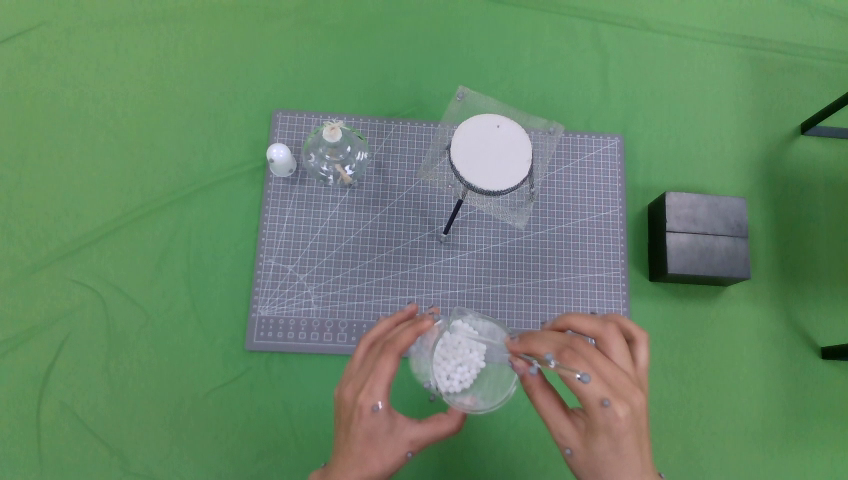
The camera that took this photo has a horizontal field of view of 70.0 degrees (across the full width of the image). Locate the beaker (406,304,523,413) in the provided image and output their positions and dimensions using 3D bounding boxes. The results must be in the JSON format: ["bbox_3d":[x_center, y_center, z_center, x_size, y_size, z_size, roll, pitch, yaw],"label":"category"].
[{"bbox_3d":[0.027,0.094,0.502,0.074,0.100,0.084,-18,88,-15],"label":"beaker"}]

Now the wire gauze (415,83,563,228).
[{"bbox_3d":[0.068,-0.091,0.624,0.125,0.011,0.121,25,76,1],"label":"wire gauze"}]

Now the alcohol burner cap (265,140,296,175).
[{"bbox_3d":[-0.172,-0.101,0.722,0.034,0.048,0.033,1,77,-3],"label":"alcohol burner cap"}]

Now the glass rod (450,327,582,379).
[{"bbox_3d":[0.058,0.080,0.452,0.008,0.199,0.008,0,90,-20],"label":"glass rod"}]

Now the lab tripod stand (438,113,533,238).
[{"bbox_3d":[0.067,-0.076,0.689,0.148,0.132,0.147,2,74,-5],"label":"lab tripod stand"}]

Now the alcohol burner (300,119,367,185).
[{"bbox_3d":[-0.104,-0.108,0.693,0.078,0.119,0.077,2,75,-6],"label":"alcohol burner"}]
